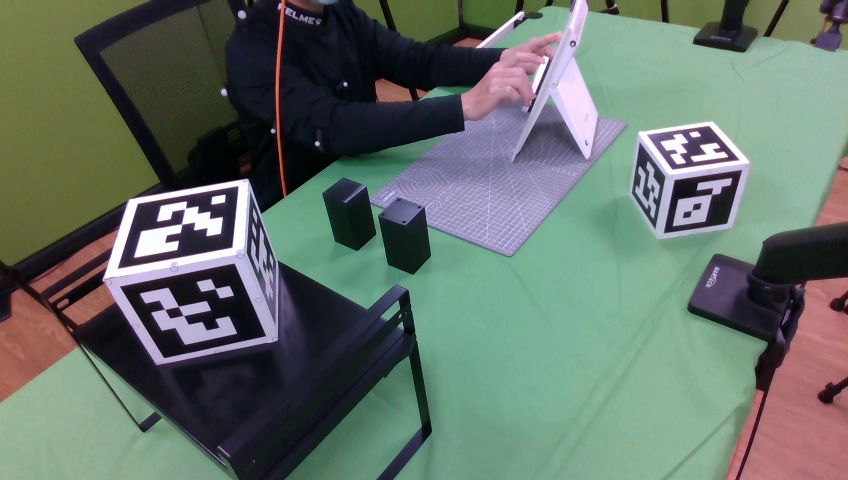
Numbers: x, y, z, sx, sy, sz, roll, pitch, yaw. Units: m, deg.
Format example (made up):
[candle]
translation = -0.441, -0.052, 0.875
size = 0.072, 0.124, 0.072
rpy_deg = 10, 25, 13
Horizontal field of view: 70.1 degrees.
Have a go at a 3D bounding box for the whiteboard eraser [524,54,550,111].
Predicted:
[whiteboard eraser]
translation = 0.204, -0.283, 1.090
size = 0.019, 0.101, 0.041
rpy_deg = 21, 18, 9

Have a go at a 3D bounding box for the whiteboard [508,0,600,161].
[whiteboard]
translation = 0.286, -0.289, 1.088
size = 0.144, 0.305, 0.217
rpy_deg = 22, 45, 3
